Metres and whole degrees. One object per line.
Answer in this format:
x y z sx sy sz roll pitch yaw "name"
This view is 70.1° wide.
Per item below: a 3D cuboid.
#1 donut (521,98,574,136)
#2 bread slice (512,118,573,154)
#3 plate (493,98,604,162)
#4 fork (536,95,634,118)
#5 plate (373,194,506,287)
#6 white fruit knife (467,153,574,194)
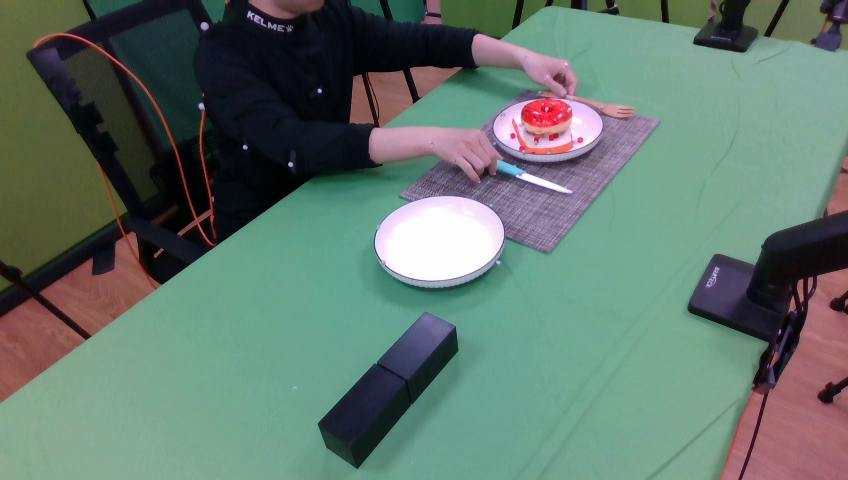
0.232 -0.232 1.135 0.099 0.048 0.098 -4 41 4 "donut"
0.232 -0.204 1.160 0.105 0.019 0.131 -7 40 1 "bread slice"
0.237 -0.206 1.158 0.209 0.038 0.208 -4 40 4 "plate"
0.325 -0.275 1.236 0.206 0.019 0.028 22 38 25 "fork"
0.025 0.003 0.951 0.207 0.039 0.206 -4 41 4 "plate"
0.171 -0.117 1.074 0.206 0.016 0.027 25 43 27 "white fruit knife"
